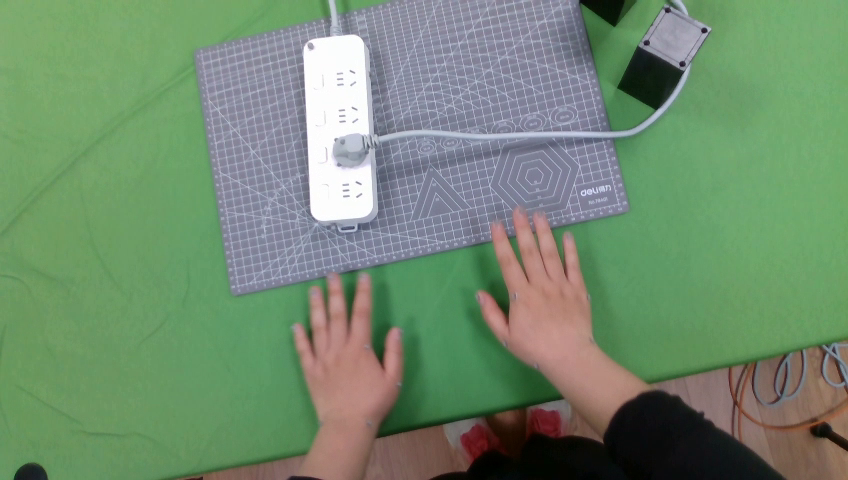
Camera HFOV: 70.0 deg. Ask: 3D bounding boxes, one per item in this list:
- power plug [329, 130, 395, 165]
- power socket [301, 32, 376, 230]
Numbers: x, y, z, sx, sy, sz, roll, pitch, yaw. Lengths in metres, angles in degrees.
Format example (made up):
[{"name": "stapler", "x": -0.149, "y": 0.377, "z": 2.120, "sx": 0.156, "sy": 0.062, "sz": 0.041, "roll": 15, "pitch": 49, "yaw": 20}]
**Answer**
[{"name": "power plug", "x": -0.066, "y": -0.097, "z": 0.652, "sx": 0.072, "sy": 0.053, "sz": 0.035, "roll": 6, "pitch": 83, "yaw": 5}, {"name": "power socket", "x": -0.096, "y": -0.125, "z": 0.677, "sx": 0.072, "sy": 0.033, "sz": 0.226, "roll": -5, "pitch": 83, "yaw": 5}]
